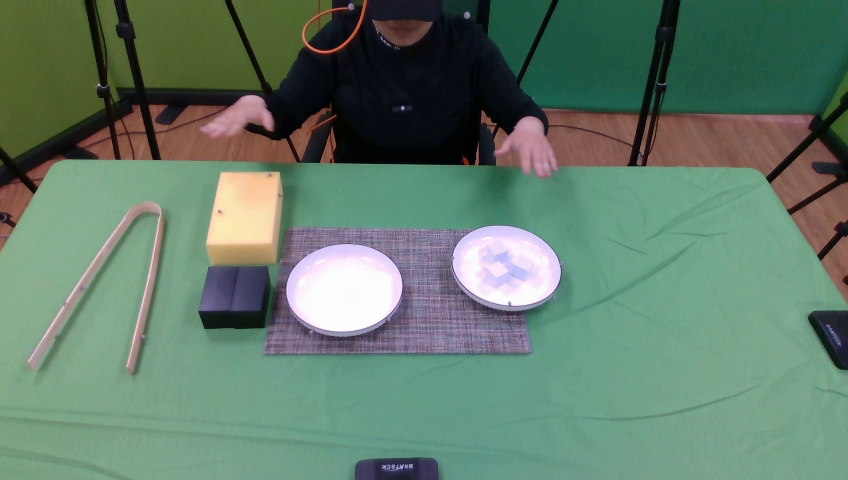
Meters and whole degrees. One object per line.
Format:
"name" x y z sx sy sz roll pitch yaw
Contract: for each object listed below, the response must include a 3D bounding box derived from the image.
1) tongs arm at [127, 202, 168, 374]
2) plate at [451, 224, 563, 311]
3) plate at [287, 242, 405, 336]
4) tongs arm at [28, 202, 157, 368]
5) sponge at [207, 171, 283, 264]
"tongs arm" -0.497 0.070 1.090 0.028 0.028 0.385 -6 47 -6
"plate" 0.154 0.053 1.140 0.209 0.038 0.208 2 47 -2
"plate" -0.138 0.090 1.084 0.208 0.039 0.206 2 46 -2
"tongs arm" -0.579 0.064 1.084 0.051 0.026 0.382 6 45 1
"sponge" -0.346 -0.048 1.191 0.118 0.061 0.205 -2 46 -7
